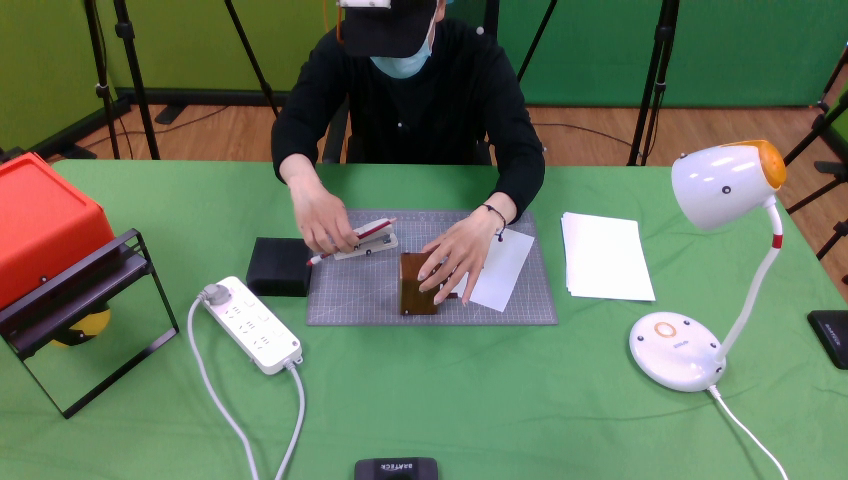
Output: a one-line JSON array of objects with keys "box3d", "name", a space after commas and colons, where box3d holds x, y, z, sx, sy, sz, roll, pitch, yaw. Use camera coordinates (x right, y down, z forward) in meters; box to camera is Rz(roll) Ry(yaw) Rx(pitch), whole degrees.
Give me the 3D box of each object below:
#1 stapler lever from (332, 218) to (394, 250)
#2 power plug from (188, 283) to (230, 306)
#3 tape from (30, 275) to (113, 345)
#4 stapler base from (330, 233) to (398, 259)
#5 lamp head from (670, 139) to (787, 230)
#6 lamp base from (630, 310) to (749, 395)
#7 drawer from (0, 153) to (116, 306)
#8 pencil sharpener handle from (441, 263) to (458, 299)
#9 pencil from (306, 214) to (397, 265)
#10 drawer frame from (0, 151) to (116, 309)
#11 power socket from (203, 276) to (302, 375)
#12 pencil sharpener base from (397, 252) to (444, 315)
[{"box3d": [-0.116, -0.012, 1.162, 0.118, 0.040, 0.026, -13, 47, -14], "name": "stapler lever"}, {"box3d": [-0.368, 0.099, 1.036, 0.072, 0.053, 0.035, -24, 52, -26], "name": "power plug"}, {"box3d": [-0.593, 0.117, 1.021, 0.117, 0.053, 0.116, 2, 46, -2], "name": "tape"}, {"box3d": [-0.116, 0.004, 1.181, 0.131, 0.024, 0.041, -13, 47, -14], "name": "stapler base"}, {"box3d": [0.415, -0.079, 0.812, 0.113, 0.123, 0.112, 12, 70, -37], "name": "lamp head"}, {"box3d": [0.447, 0.142, 0.984, 0.161, 0.181, 0.178, -24, 55, -24], "name": "lamp base"}, {"box3d": [-0.601, -0.015, 0.880, 0.193, 0.073, 0.211, 32, 53, 23], "name": "drawer"}, {"box3d": [0.045, 0.071, 1.052, 0.031, 0.068, 0.036, -1, 24, -5], "name": "pencil sharpener handle"}, {"box3d": [-0.125, -0.001, 1.033, 0.194, 0.012, 0.012, -28, 43, 21], "name": "pencil"}, {"box3d": [-0.604, -0.013, 0.876, 0.201, 0.083, 0.213, 31, 52, 23], "name": "drawer frame"}, {"box3d": [-0.297, 0.141, 1.034, 0.072, 0.033, 0.225, -34, 58, -30], "name": "power socket"}, {"box3d": [-0.007, 0.077, 1.061, 0.077, 0.107, 0.061, -1, 46, -5], "name": "pencil sharpener base"}]
